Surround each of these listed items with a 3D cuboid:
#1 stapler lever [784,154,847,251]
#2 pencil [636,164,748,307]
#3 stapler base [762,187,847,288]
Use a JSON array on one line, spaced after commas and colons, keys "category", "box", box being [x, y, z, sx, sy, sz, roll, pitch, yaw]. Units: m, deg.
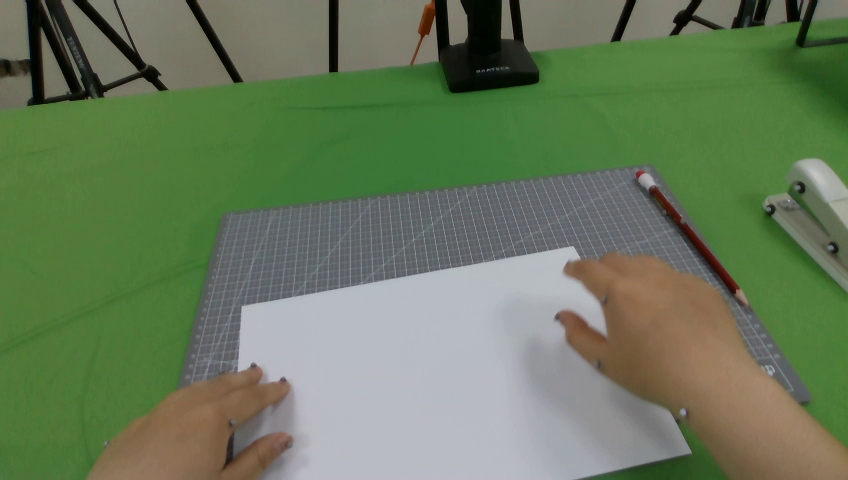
[{"category": "stapler lever", "box": [0.350, -0.029, 0.512, 0.027, 0.040, 0.116, -12, 44, -4]}, {"category": "pencil", "box": [0.237, -0.011, 0.547, 0.012, 0.012, 0.192, -10, 43, -6]}, {"category": "stapler base", "box": [0.351, -0.011, 0.531, 0.041, 0.025, 0.129, -12, 44, -4]}]
